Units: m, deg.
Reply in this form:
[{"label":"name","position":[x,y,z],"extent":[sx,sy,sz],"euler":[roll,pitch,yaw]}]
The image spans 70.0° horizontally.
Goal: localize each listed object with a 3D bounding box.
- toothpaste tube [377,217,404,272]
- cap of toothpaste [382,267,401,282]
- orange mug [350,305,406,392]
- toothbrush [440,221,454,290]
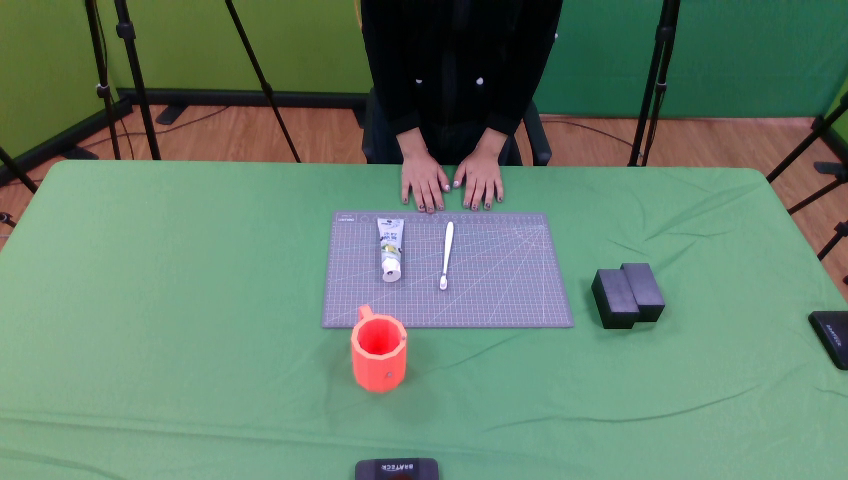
[{"label":"toothpaste tube","position":[-0.063,0.008,1.179],"extent":[0.055,0.034,0.164],"euler":[5,42,-9]},{"label":"cap of toothpaste","position":[-0.060,0.063,1.119],"extent":[0.037,0.037,0.011],"euler":[-9,50,-12]},{"label":"orange mug","position":[-0.080,0.168,0.978],"extent":[0.083,0.101,0.125],"euler":[-16,54,-18]},{"label":"toothbrush","position":[0.044,0.025,1.177],"extent":[0.014,0.017,0.181],"euler":[-4,43,13]}]
